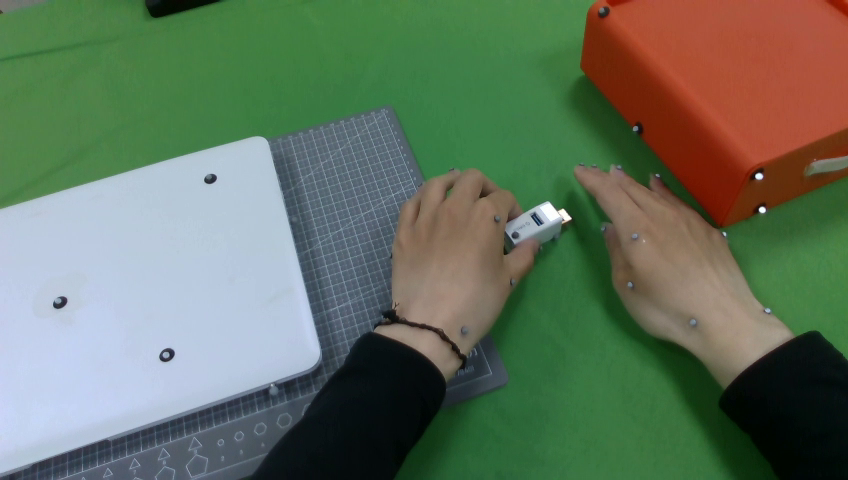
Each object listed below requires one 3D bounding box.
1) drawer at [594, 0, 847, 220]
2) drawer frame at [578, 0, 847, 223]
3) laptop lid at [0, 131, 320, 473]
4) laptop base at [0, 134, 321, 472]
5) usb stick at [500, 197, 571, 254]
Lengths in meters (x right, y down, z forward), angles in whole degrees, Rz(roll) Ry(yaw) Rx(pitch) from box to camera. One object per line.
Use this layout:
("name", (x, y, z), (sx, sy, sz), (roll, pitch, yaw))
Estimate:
("drawer", (0.273, -0.140, 0.504), (0.194, 0.074, 0.209), (-22, 56, -8))
("drawer frame", (0.271, -0.142, 0.505), (0.202, 0.083, 0.211), (-23, 56, -9))
("laptop lid", (-0.272, 0.046, 0.457), (0.357, 0.013, 0.239), (-16, 59, -5))
("laptop base", (-0.271, 0.050, 0.468), (0.355, 0.023, 0.233), (-18, 60, -6))
("usb stick", (0.089, -0.014, 0.471), (0.059, 0.027, 0.021), (-24, 57, -15))
